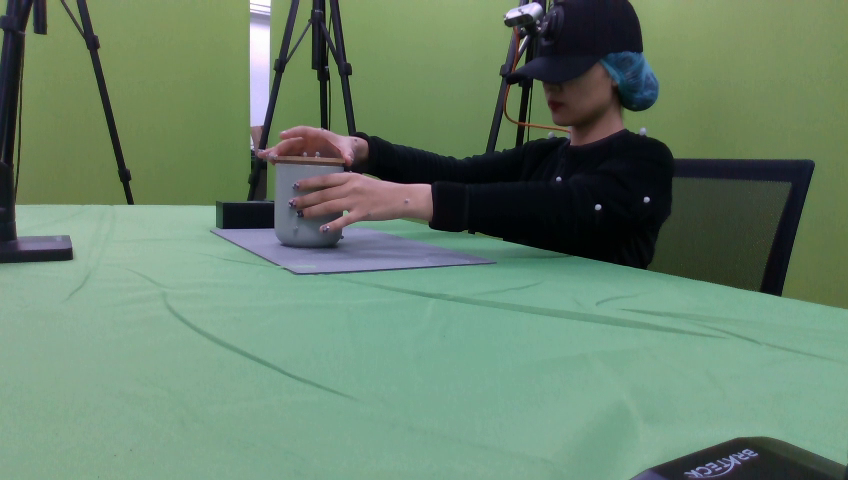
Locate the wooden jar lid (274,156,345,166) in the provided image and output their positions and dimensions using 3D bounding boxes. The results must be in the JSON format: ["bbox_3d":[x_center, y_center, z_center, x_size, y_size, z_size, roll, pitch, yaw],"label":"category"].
[{"bbox_3d":[-0.177,-0.119,0.936,0.108,0.020,0.108,2,8,0],"label":"wooden jar lid"}]

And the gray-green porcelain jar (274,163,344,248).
[{"bbox_3d":[-0.180,-0.055,0.945,0.106,0.126,0.106,3,7,0],"label":"gray-green porcelain jar"}]
